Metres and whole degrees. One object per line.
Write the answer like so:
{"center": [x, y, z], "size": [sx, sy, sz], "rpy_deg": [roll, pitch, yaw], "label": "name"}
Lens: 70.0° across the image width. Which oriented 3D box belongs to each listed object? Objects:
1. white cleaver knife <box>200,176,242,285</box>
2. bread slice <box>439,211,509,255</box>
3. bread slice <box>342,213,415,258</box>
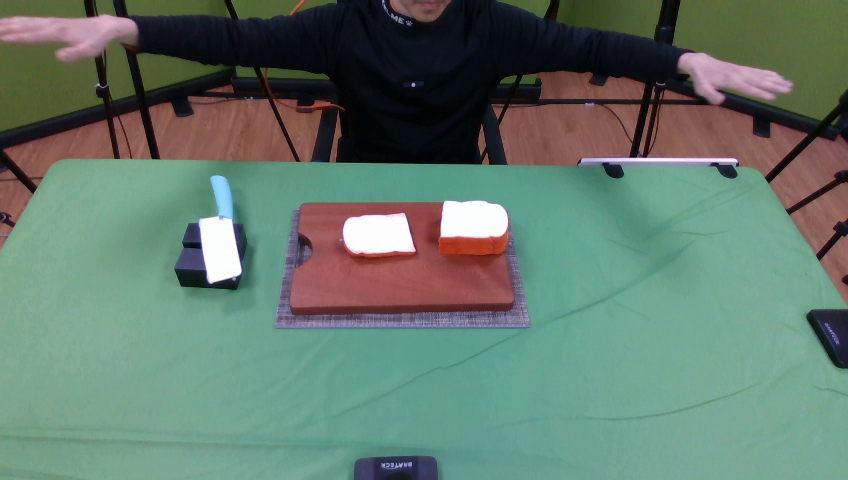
{"center": [-0.386, -0.028, 1.136], "size": [0.066, 0.021, 0.284], "rpy_deg": [-11, 46, -14], "label": "white cleaver knife"}
{"center": [0.097, -0.013, 1.172], "size": [0.134, 0.018, 0.106], "rpy_deg": [5, 48, 6], "label": "bread slice"}
{"center": [-0.091, -0.008, 1.154], "size": [0.132, 0.019, 0.104], "rpy_deg": [-3, 48, -14], "label": "bread slice"}
